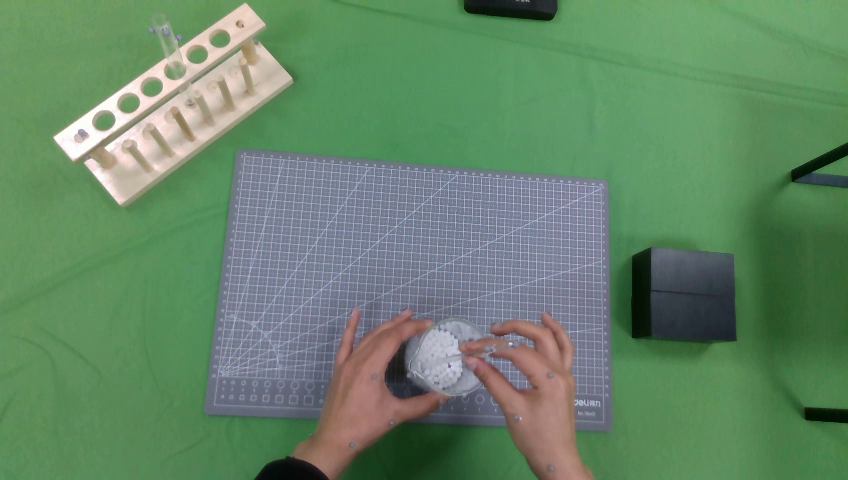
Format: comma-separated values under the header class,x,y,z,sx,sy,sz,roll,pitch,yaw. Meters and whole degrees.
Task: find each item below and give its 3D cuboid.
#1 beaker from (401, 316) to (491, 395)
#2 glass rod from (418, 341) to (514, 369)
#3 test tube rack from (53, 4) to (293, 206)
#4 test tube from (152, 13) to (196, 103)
class,x,y,z,sx,sy,sz,roll,pitch,yaw
beaker,0.015,0.121,0.620,0.084,0.100,0.073,-11,80,-14
glass rod,0.032,0.110,0.566,0.008,0.199,0.008,7,72,-21
test tube rack,-0.265,-0.147,0.669,0.242,0.085,0.066,-41,84,-13
test tube,-0.256,-0.183,0.627,0.017,0.150,0.017,3,73,-10
